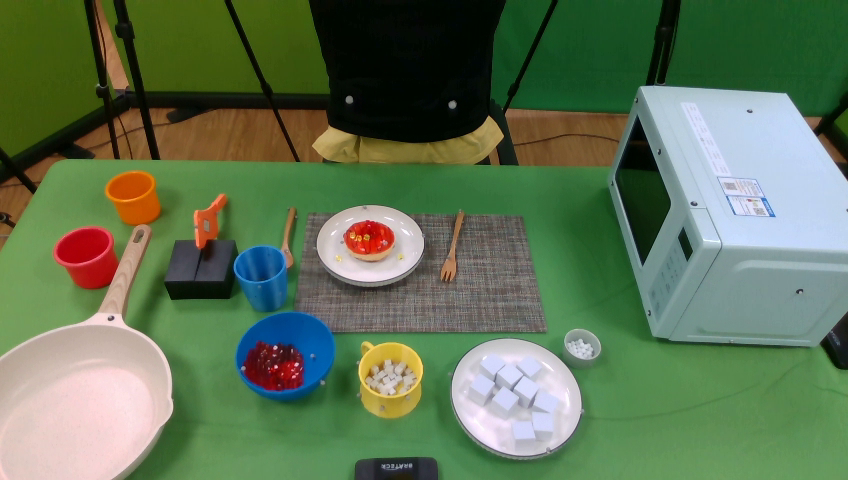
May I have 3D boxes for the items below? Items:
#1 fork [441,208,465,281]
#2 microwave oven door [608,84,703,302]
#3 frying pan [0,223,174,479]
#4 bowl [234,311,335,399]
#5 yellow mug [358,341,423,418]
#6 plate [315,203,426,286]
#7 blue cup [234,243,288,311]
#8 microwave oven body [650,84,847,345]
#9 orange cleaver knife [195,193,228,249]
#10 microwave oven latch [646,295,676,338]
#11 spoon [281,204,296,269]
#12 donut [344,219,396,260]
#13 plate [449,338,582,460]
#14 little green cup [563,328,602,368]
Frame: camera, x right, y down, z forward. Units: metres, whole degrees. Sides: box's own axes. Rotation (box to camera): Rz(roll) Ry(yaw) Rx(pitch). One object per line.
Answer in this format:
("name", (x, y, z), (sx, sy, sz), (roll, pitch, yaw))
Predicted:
("fork", (0.061, 0.005, 1.190), (0.028, 0.019, 0.206), (3, 47, 13))
("microwave oven door", (0.424, -0.096, 1.138), (0.039, 0.245, 0.353), (3, 46, -1))
("frying pan", (-0.505, 0.169, 0.941), (0.307, 0.103, 0.485), (5, 54, -1))
("bowl", (-0.214, 0.194, 0.956), (0.151, 0.077, 0.150), (2, 46, -2))
("yellow mug", (-0.063, 0.210, 0.961), (0.100, 0.064, 0.130), (-29, 54, -28))
("plate", (-0.101, 0.012, 1.160), (0.209, 0.038, 0.208), (2, 46, -2))
("blue cup", (-0.276, 0.072, 1.052), (0.093, 0.101, 0.092), (1, 48, -1))
("microwave oven body", (0.569, -0.054, 1.116), (0.326, 0.261, 0.439), (2, 46, -1))
("orange cleaver knife", (-0.406, -0.041, 1.163), (0.012, 0.077, 0.210), (-1, 18, -3))
("microwave oven latch", (0.413, 0.133, 1.061), (0.030, 0.029, 0.078), (4, 46, 1))
("spoon", (-0.266, -0.008, 1.182), (0.041, 0.022, 0.192), (-14, 46, 11))
("donut", (-0.103, -0.002, 1.158), (0.099, 0.048, 0.098), (2, 43, -2))
("plate", (0.141, 0.251, 0.955), (0.208, 0.039, 0.206), (2, 47, -2))
("little green cup", (0.265, 0.184, 1.025), (0.061, 0.039, 0.061), (1, 46, -1))
